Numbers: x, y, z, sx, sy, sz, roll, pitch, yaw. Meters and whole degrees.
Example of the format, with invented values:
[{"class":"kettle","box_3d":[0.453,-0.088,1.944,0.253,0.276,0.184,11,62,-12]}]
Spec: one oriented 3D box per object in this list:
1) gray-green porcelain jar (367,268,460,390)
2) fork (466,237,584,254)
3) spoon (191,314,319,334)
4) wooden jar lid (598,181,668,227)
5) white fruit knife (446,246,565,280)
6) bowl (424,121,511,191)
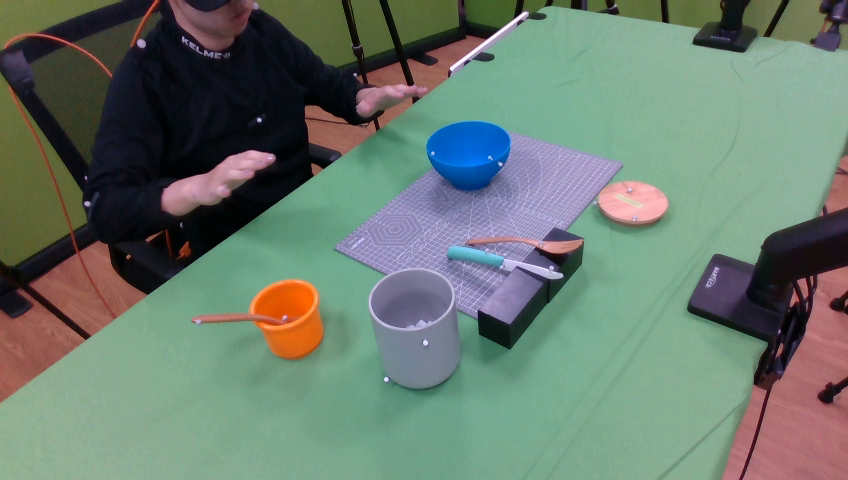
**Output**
[{"class":"gray-green porcelain jar","box_3d":[-0.009,0.116,0.754,0.106,0.127,0.105,-4,41,4]},{"class":"fork","box_3d":[0.142,0.005,0.894,0.205,0.019,0.028,4,43,41]},{"class":"spoon","box_3d":[-0.212,0.105,0.780,0.041,0.195,0.021,30,97,37]},{"class":"wooden jar lid","box_3d":[0.340,-0.058,0.988,0.108,0.021,0.108,-5,41,5]},{"class":"white fruit knife","box_3d":[0.111,0.033,0.868,0.205,0.027,0.016,11,44,40]},{"class":"bowl","box_3d":[0.080,-0.141,1.074,0.151,0.077,0.150,-4,40,4]}]
